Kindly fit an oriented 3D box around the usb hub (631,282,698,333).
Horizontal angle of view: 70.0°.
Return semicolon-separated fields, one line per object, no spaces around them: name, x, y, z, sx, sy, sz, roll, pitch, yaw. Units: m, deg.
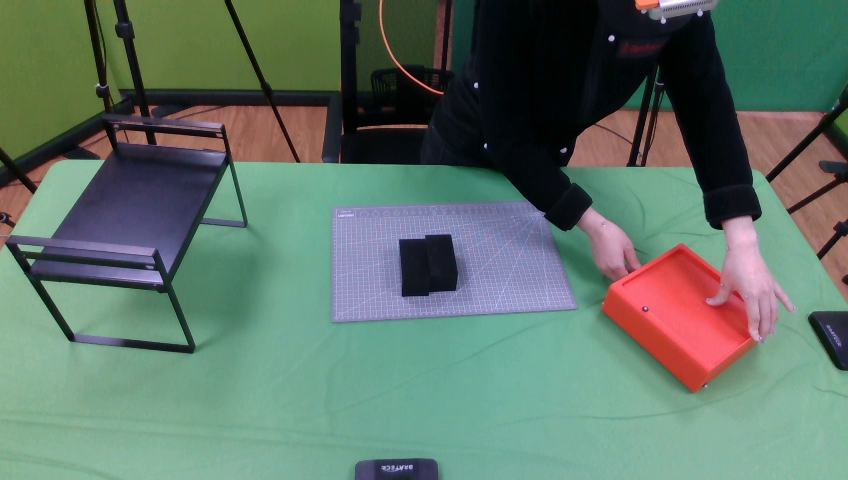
usb hub;0.435;0.121;1.092;0.125;0.025;0.049;-24;52;-26

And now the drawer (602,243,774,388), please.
drawer;0.461;0.127;1.068;0.194;0.073;0.210;-25;54;-26

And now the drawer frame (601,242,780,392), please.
drawer frame;0.462;0.125;1.065;0.202;0.083;0.212;-26;54;-26
